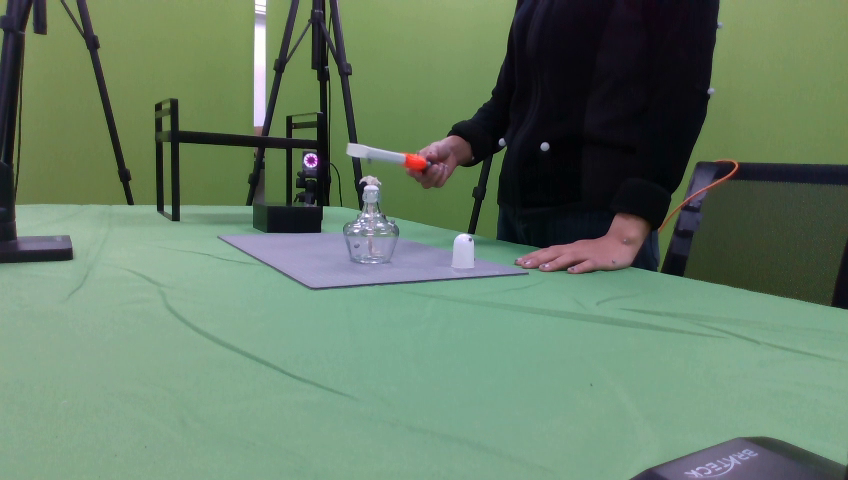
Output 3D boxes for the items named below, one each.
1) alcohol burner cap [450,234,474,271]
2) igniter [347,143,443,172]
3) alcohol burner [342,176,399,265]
[{"bbox_3d":[0.052,0.015,0.809,0.034,0.048,0.034,4,9,0],"label":"alcohol burner cap"},{"bbox_3d":[-0.038,-0.131,0.974,0.057,0.025,0.278,14,7,24],"label":"igniter"},{"bbox_3d":[-0.072,-0.027,0.818,0.078,0.119,0.078,1,6,0],"label":"alcohol burner"}]
